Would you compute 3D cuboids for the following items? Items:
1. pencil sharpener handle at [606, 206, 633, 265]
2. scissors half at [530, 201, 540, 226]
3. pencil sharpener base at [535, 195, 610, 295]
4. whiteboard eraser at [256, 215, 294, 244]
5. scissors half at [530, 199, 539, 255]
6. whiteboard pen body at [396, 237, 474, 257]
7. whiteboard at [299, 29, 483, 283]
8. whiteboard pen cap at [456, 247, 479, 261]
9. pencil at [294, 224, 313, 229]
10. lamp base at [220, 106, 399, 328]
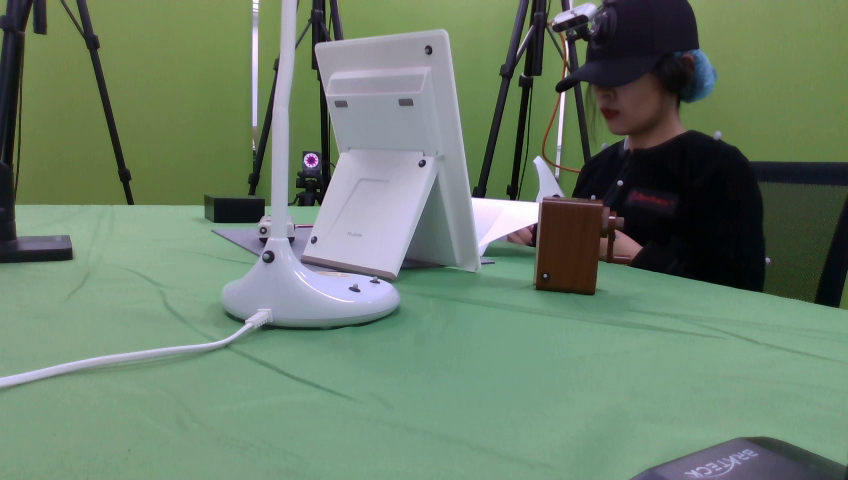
[{"bbox_3d":[0.222,-0.004,0.683,0.030,0.068,0.036,5,21,16],"label":"pencil sharpener handle"},{"bbox_3d":[0.209,-0.040,1.085,0.013,0.040,0.176,14,-9,25],"label":"scissors half"},{"bbox_3d":[0.172,0.005,0.695,0.076,0.107,0.061,5,7,16],"label":"pencil sharpener base"},{"bbox_3d":[-0.232,-0.016,0.951,0.056,0.042,0.112,2,7,-12],"label":"whiteboard eraser"},{"bbox_3d":[0.200,-0.022,1.079,0.012,0.040,0.176,19,-26,27],"label":"scissors half"},{"bbox_3d":[0.014,0.012,0.886,0.140,0.017,0.017,9,10,38],"label":"whiteboard pen body"},{"bbox_3d":[-0.074,-0.082,0.742,0.216,0.305,0.144,9,30,38],"label":"whiteboard"},{"bbox_3d":[0.060,0.020,0.851,0.033,0.018,0.018,10,10,37],"label":"whiteboard pen cap"},{"bbox_3d":[-0.221,-0.029,1.211,0.195,0.012,0.012,-5,10,-34],"label":"pencil"},{"bbox_3d":[-0.101,-0.023,0.531,0.160,0.180,0.179,4,10,10],"label":"lamp base"}]
